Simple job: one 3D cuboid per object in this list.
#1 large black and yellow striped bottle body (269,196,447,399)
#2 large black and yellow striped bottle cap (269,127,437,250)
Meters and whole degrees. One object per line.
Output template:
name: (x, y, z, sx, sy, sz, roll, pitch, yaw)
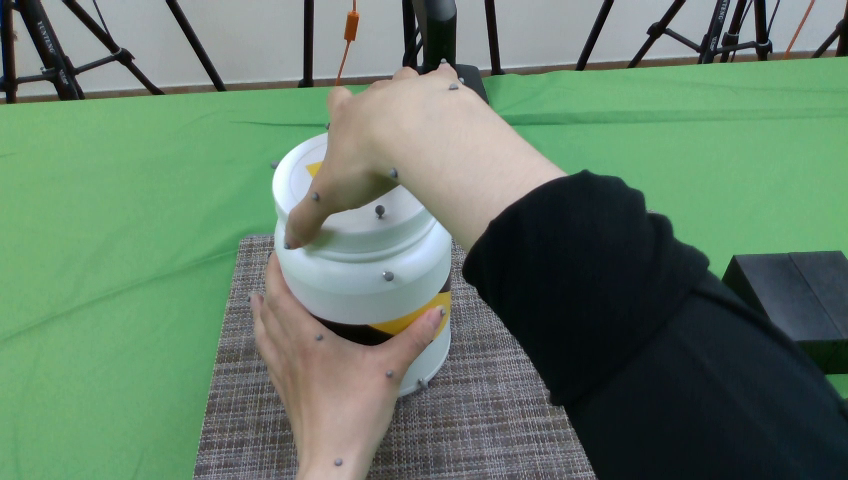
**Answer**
large black and yellow striped bottle body: (-0.047, 0.024, 0.478, 0.131, 0.185, 0.129, -1, 44, 1)
large black and yellow striped bottle cap: (-0.048, -0.039, 0.417, 0.115, 0.019, 0.114, 0, 44, 1)
